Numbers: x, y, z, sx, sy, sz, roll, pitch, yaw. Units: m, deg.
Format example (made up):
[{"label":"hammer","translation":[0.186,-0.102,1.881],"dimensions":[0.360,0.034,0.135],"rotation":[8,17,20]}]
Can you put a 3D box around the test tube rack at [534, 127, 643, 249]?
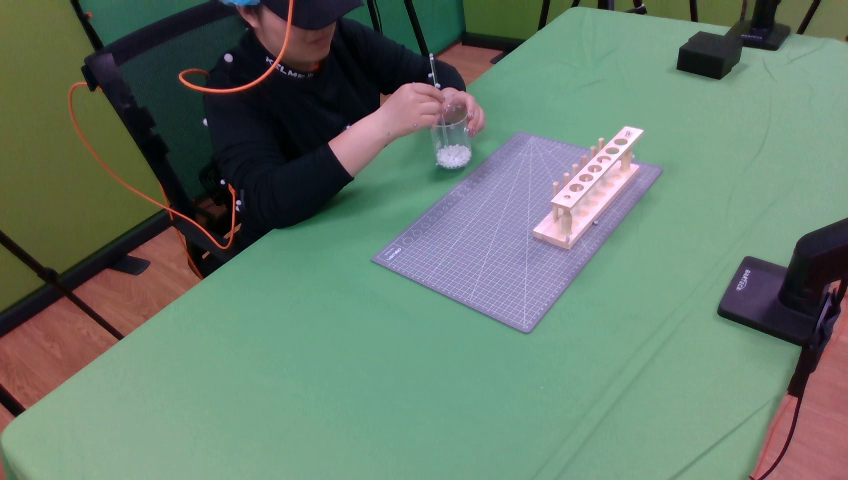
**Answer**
[{"label":"test tube rack","translation":[0.271,-0.094,0.990],"dimensions":[0.066,0.085,0.243],"rotation":[23,50,33]}]

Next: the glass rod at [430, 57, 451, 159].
[{"label":"glass rod","translation":[0.029,-0.229,1.073],"dimensions":[0.008,0.201,0.008],"rotation":[-8,39,7]}]

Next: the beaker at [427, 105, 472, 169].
[{"label":"beaker","translation":[0.051,-0.190,1.117],"dimensions":[0.073,0.101,0.084],"rotation":[6,45,19]}]
